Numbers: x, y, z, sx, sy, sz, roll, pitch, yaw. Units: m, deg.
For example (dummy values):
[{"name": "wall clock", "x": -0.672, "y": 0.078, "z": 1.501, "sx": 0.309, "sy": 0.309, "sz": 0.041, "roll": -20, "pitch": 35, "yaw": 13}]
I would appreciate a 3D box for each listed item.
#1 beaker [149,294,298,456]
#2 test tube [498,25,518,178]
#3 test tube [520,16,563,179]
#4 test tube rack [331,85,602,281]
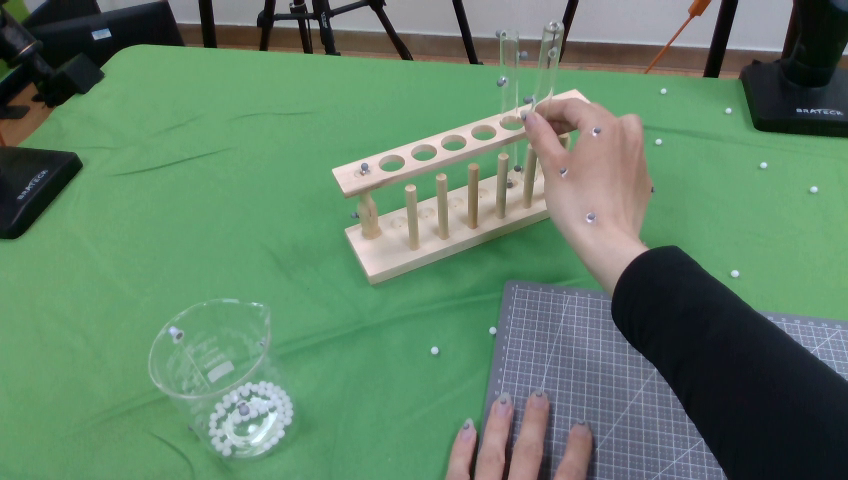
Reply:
[{"name": "beaker", "x": -0.128, "y": 0.095, "z": 0.415, "sx": 0.073, "sy": 0.101, "sz": 0.084, "roll": 29, "pitch": 55, "yaw": 27}, {"name": "test tube", "x": 0.074, "y": -0.115, "z": 0.534, "sx": 0.017, "sy": 0.152, "sz": 0.017, "roll": -4, "pitch": 44, "yaw": 4}, {"name": "test tube", "x": 0.094, "y": -0.110, "z": 0.493, "sx": 0.017, "sy": 0.152, "sz": 0.017, "roll": 0, "pitch": 47, "yaw": 0}, {"name": "test tube rack", "x": 0.047, "y": -0.054, "z": 0.548, "sx": 0.243, "sy": 0.086, "sz": 0.066, "roll": -21, "pitch": 49, "yaw": -14}]
